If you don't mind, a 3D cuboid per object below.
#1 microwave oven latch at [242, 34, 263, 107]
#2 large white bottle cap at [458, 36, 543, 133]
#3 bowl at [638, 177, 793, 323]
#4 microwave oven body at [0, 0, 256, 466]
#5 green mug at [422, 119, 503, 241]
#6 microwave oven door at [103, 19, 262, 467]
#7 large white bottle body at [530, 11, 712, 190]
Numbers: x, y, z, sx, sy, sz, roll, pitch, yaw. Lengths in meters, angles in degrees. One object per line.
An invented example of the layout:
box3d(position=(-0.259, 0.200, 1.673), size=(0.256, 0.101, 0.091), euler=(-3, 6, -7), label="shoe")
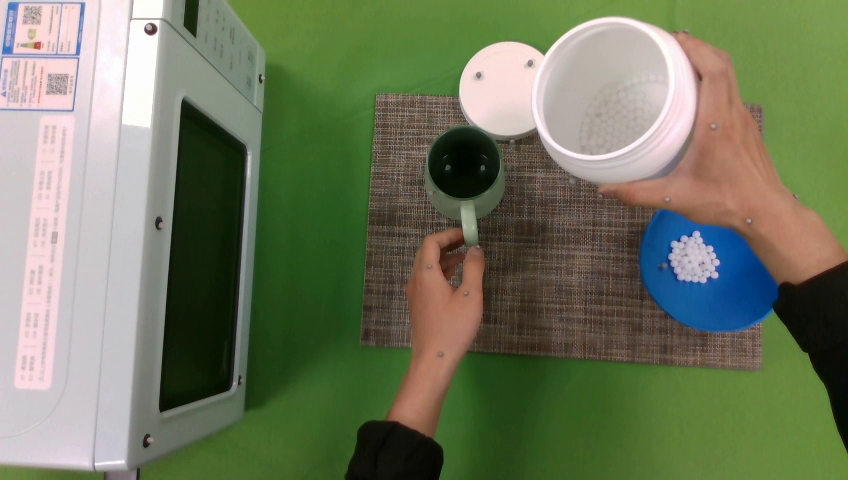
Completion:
box3d(position=(-0.204, -0.197, 0.706), size=(0.030, 0.029, 0.079), euler=(1, 85, 3), label="microwave oven latch")
box3d(position=(0.096, -0.182, 0.708), size=(0.115, 0.018, 0.114), euler=(-1, 81, 4), label="large white bottle cap")
box3d(position=(0.297, 0.014, 0.648), size=(0.151, 0.077, 0.151), euler=(0, 84, 4), label="bowl")
box3d(position=(-0.365, -0.035, 0.604), size=(0.326, 0.261, 0.440), euler=(1, 85, 3), label="microwave oven body")
box3d(position=(0.044, -0.062, 0.658), size=(0.092, 0.105, 0.125), euler=(-6, 85, 2), label="green mug")
box3d(position=(-0.220, 0.009, 0.586), size=(0.039, 0.244, 0.355), euler=(1, 85, 4), label="microwave oven door")
box3d(position=(0.175, -0.116, 0.533), size=(0.130, 0.186, 0.130), euler=(-1, 89, 30), label="large white bottle body")
